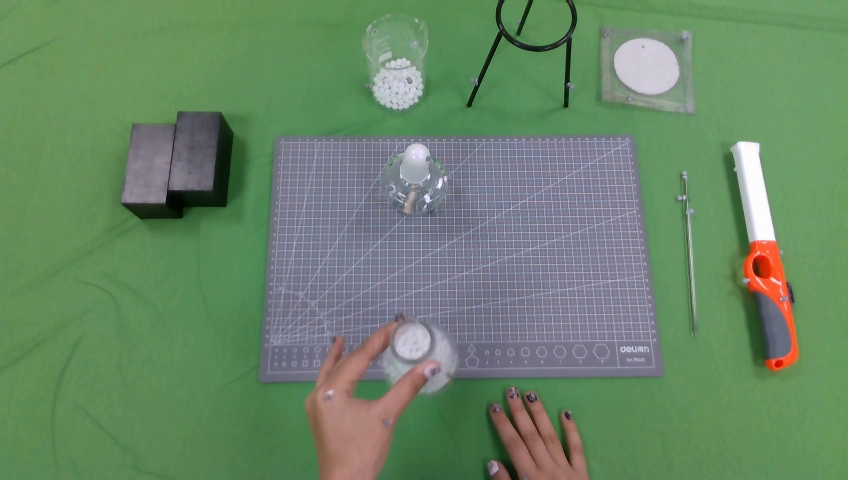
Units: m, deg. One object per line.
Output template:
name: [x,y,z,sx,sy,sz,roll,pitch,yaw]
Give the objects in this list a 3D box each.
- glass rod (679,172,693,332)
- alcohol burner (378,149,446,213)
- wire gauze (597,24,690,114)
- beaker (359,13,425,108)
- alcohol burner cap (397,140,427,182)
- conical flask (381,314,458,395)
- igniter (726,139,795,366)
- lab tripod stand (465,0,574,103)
glass rod: [0.311,0.011,0.722,0.008,0.008,0.198,4,73,0]
alcohol burner: [-0.013,-0.075,0.683,0.078,0.119,0.077,1,72,-3]
wire gauze: [0.288,-0.229,0.794,0.125,0.011,0.121,7,74,-1]
beaker: [-0.035,-0.214,0.735,0.084,0.101,0.073,-40,78,-13]
alcohol burner cap: [-0.011,-0.088,0.649,0.034,0.048,0.033,4,66,-8]
conical flask: [-0.008,0.096,0.538,0.075,0.122,0.075,-1,73,3]
igniter: [0.395,0.009,0.714,0.057,0.025,0.275,3,73,-11]
lab tripod stand: [0.117,-0.228,0.725,0.148,0.132,0.147,0,75,-1]
